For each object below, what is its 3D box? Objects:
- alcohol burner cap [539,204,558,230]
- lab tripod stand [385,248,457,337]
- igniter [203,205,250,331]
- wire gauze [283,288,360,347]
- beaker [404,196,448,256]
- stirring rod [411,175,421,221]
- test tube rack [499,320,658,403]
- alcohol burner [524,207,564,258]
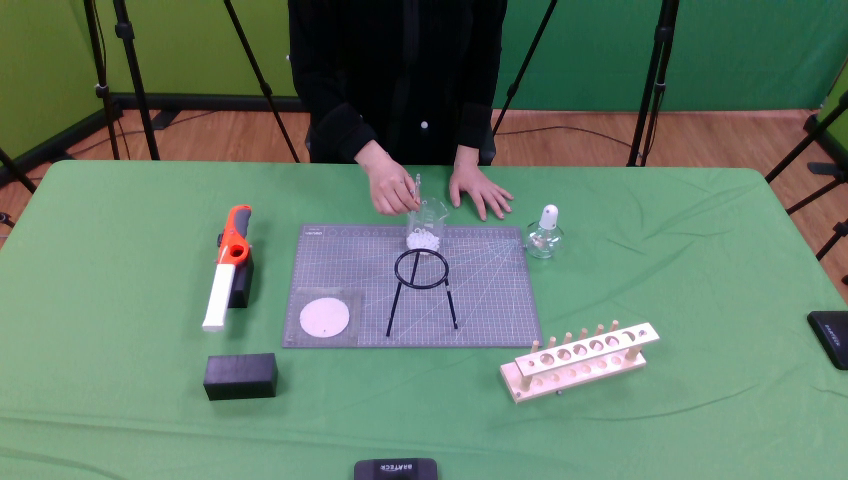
[{"bbox_3d":[0.238,-0.045,1.148,0.034,0.048,0.033,2,42,-1],"label":"alcohol burner cap"},{"bbox_3d":[-0.010,0.087,1.032,0.148,0.132,0.147,1,45,-1],"label":"lab tripod stand"},{"bbox_3d":[-0.345,0.039,1.065,0.057,0.025,0.274,2,49,-6],"label":"igniter"},{"bbox_3d":[-0.178,0.132,1.063,0.125,0.011,0.120,2,46,1],"label":"wire gauze"},{"bbox_3d":[0.001,-0.024,1.164,0.084,0.101,0.073,6,46,0],"label":"beaker"},{"bbox_3d":[-0.015,-0.073,1.099,0.014,0.177,0.006,9,67,1],"label":"stirring rod"},{"bbox_3d":[0.252,0.187,0.994,0.243,0.085,0.066,-12,48,-15],"label":"test tube rack"},{"bbox_3d":[0.236,-0.021,1.174,0.078,0.120,0.077,1,48,-1],"label":"alcohol burner"}]
